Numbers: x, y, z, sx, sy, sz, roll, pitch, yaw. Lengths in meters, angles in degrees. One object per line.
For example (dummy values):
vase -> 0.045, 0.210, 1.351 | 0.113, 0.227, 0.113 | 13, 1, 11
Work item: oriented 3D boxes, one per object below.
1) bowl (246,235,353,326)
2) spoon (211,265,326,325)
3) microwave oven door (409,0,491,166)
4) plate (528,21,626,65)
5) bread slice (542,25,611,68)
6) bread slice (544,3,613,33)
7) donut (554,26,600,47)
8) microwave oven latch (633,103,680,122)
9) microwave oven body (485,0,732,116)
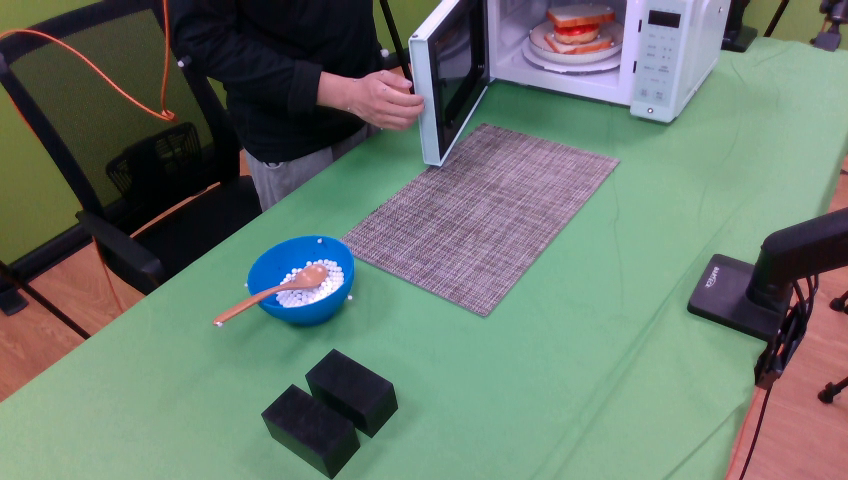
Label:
bowl -> -0.170, 0.070, 0.868 | 0.151, 0.077, 0.150 | -4, 41, 4
spoon -> -0.208, 0.072, 0.822 | 0.041, 0.021, 0.195 | 26, 28, 27
microwave oven door -> 0.061, -0.342, 1.165 | 0.039, 0.245, 0.355 | 9, 43, 19
plate -> 0.332, -0.431, 1.318 | 0.207, 0.039, 0.206 | -4, 41, 4
bread slice -> 0.336, -0.429, 1.314 | 0.134, 0.018, 0.106 | -24, 51, -1
bread slice -> 0.329, -0.472, 1.278 | 0.131, 0.019, 0.104 | -11, 39, 0
donut -> 0.328, -0.451, 1.295 | 0.099, 0.048, 0.098 | -6, 44, 6
microwave oven latch -> 0.444, -0.249, 1.157 | 0.078, 0.029, 0.030 | 21, 49, 30
microwave oven body -> 0.377, -0.462, 1.267 | 0.438, 0.261, 0.327 | 21, 48, 30
